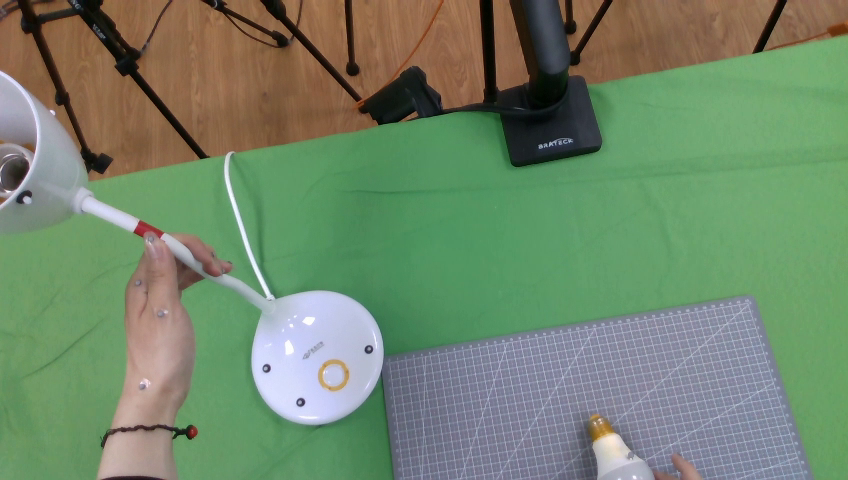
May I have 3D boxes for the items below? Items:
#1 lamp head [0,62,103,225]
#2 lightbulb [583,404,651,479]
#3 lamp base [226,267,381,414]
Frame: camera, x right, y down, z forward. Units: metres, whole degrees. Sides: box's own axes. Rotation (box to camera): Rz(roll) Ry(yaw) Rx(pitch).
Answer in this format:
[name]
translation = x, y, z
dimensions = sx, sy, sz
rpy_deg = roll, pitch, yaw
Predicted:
[lamp head]
translation = -0.300, -0.058, 0.440
dimensions = 0.112, 0.123, 0.112
rpy_deg = 0, 79, 3
[lightbulb]
translation = 0.203, 0.228, 0.655
dimensions = 0.059, 0.060, 0.106
rpy_deg = -19, 52, 0
[lamp base]
translation = -0.149, 0.097, 0.666
dimensions = 0.178, 0.181, 0.160
rpy_deg = 38, 79, 18
